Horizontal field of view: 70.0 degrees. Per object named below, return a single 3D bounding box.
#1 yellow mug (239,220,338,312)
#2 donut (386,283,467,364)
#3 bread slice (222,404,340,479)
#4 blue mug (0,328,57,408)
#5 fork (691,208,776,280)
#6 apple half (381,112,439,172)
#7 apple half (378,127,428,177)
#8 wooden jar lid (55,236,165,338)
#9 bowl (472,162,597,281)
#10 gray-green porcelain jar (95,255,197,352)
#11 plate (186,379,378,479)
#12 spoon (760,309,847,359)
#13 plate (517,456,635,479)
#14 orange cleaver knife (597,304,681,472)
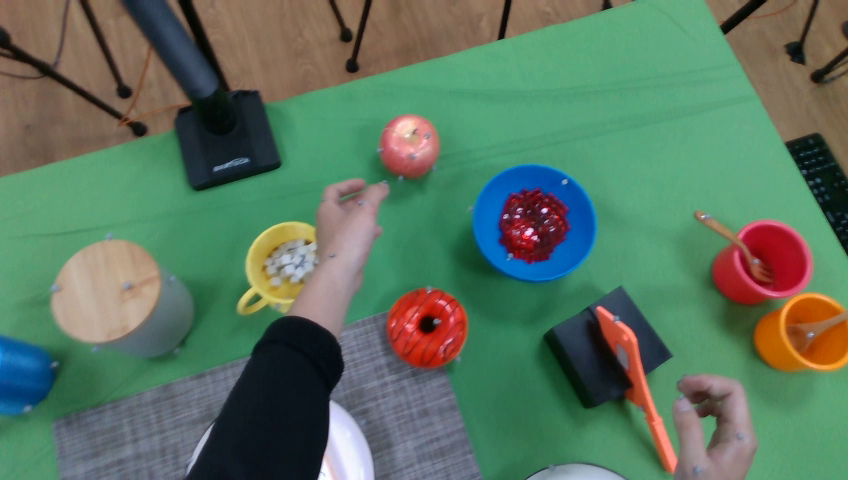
[{"bbox_3d":[-0.169,0.042,0.735,0.131,0.064,0.099,-40,77,-13],"label":"yellow mug"},{"bbox_3d":[0.004,0.101,0.731,0.099,0.048,0.098,1,72,-3],"label":"donut"},{"bbox_3d":[-0.147,0.265,0.675,0.107,0.018,0.133,-28,75,-10],"label":"bread slice"},{"bbox_3d":[-0.487,0.151,0.665,0.116,0.106,0.082,-43,78,-14],"label":"blue mug"},{"bbox_3d":[0.375,0.006,0.727,0.209,0.018,0.028,28,65,-37],"label":"fork"},{"bbox_3d":[-0.011,-0.132,0.795,0.080,0.075,0.053,36,68,13],"label":"apple half"},{"bbox_3d":[-0.035,-0.104,0.783,0.081,0.082,0.032,37,69,10],"label":"apple half"},{"bbox_3d":[-0.323,0.049,0.629,0.108,0.021,0.107,0,70,-1],"label":"wooden jar lid"},{"bbox_3d":[0.131,-0.013,0.760,0.151,0.077,0.150,1,72,-2],"label":"bowl"},{"bbox_3d":[-0.324,0.070,0.688,0.106,0.127,0.105,1,71,-2],"label":"gray-green porcelain jar"},{"bbox_3d":[-0.154,0.262,0.675,0.208,0.039,0.206,1,72,-2],"label":"plate"},{"bbox_3d":[0.488,0.087,0.705,0.022,0.194,0.041,-4,62,-51],"label":"spoon"},{"bbox_3d":[0.169,0.347,0.665,0.209,0.038,0.208,1,72,-2],"label":"plate"},{"bbox_3d":[0.247,0.171,0.702,0.012,0.077,0.212,-26,104,-10],"label":"orange cleaver knife"}]
